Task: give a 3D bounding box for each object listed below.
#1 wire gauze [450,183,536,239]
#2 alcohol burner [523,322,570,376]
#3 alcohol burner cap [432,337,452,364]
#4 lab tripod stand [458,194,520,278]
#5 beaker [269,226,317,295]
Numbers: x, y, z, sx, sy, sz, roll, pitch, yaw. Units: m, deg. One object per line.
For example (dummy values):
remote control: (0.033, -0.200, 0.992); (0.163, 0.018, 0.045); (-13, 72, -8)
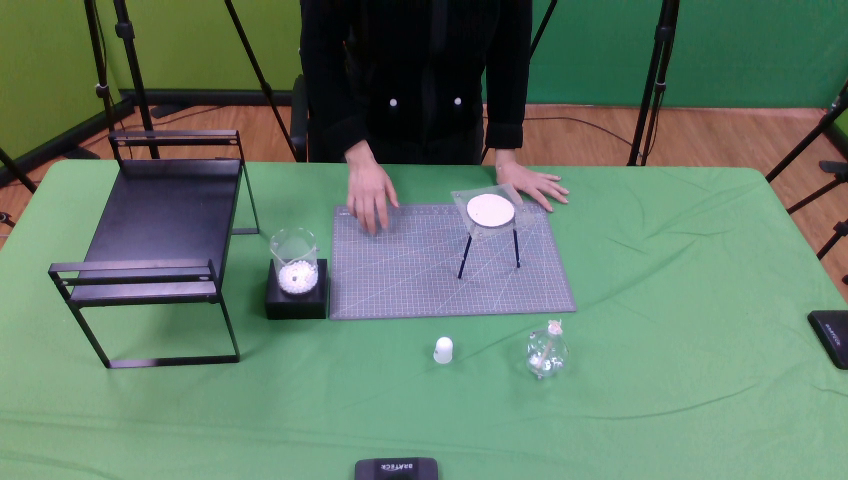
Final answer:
wire gauze: (0.122, -0.057, 1.087); (0.121, 0.011, 0.124); (-12, 47, -14)
alcohol burner: (0.203, 0.169, 0.986); (0.078, 0.119, 0.077); (3, 47, -3)
alcohol burner cap: (0.031, 0.182, 1.011); (0.034, 0.048, 0.033); (4, 45, -4)
lab tripod stand: (0.115, -0.011, 1.136); (0.148, 0.132, 0.147); (1, 45, -1)
beaker: (-0.218, 0.040, 1.020); (0.074, 0.101, 0.083); (6, 47, 2)
